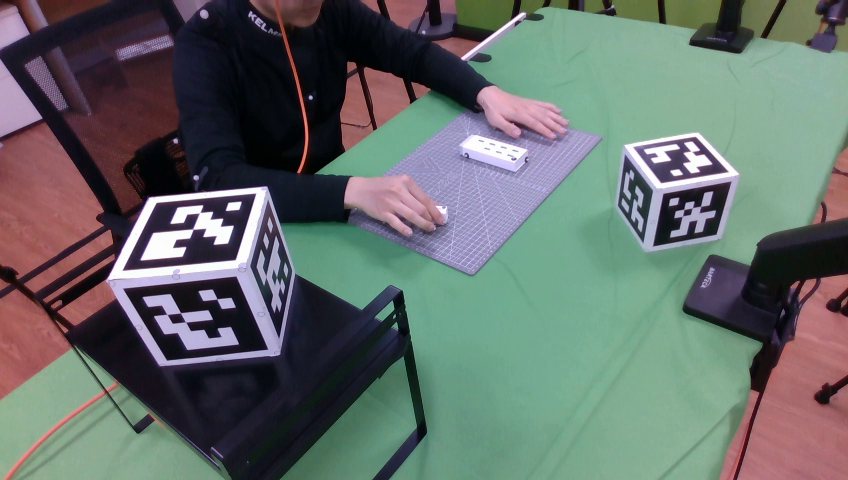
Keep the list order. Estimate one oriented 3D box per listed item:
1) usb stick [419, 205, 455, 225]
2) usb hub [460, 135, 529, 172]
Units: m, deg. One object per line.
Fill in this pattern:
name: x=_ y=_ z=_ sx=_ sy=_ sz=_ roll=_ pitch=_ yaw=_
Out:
usb stick: x=0.023 y=-0.041 z=1.005 sx=0.059 sy=0.027 sz=0.021 roll=8 pitch=71 yaw=15
usb hub: x=0.132 y=-0.164 z=1.138 sx=0.124 sy=0.025 sz=0.049 roll=21 pitch=48 yaw=31
